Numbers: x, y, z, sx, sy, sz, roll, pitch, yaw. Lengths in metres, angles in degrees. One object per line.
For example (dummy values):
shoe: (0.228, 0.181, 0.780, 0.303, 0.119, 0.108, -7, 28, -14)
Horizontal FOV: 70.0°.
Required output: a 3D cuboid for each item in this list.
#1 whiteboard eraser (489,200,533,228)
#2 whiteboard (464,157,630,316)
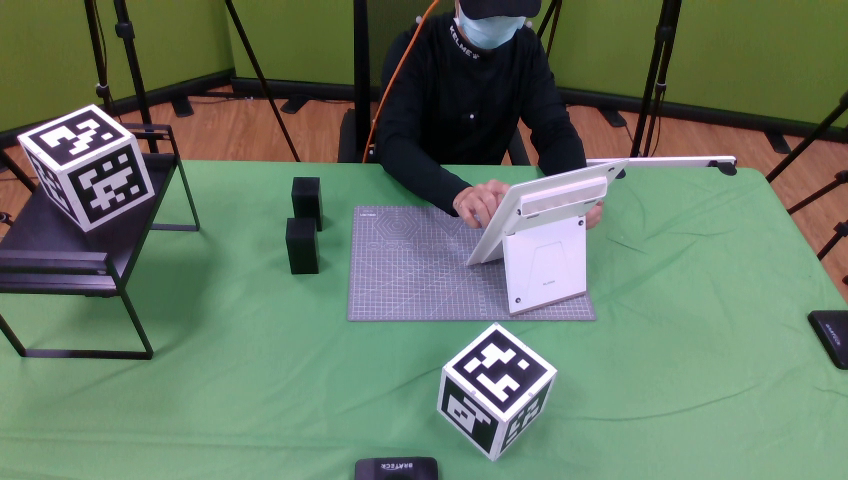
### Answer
whiteboard eraser: (0.150, -0.046, 1.054, 0.041, 0.101, 0.019, -2, 73, -29)
whiteboard: (0.224, 0.015, 1.042, 0.217, 0.306, 0.143, -13, 68, -17)
